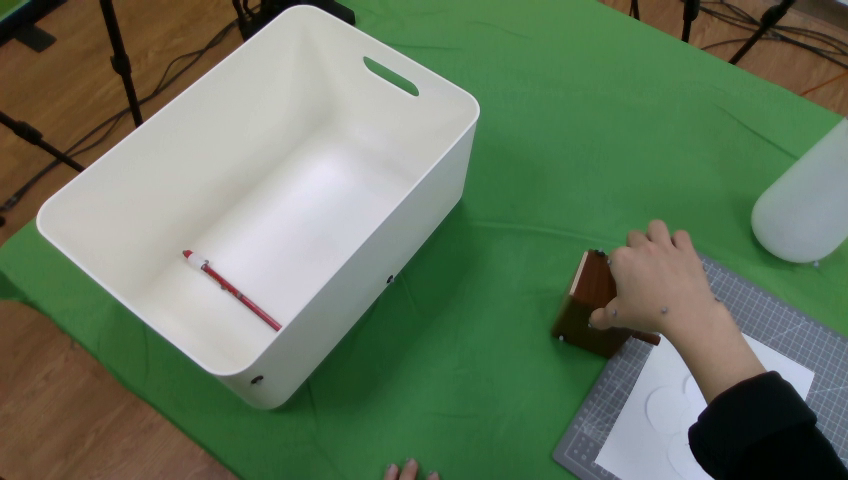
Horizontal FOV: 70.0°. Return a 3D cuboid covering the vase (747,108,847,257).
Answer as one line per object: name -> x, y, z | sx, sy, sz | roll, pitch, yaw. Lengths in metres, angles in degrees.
vase -> 0.428, -0.063, 0.640 | 0.098, 0.201, 0.097 | 0, 60, 0

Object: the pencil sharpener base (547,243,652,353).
pencil sharpener base -> 0.179, 0.062, 0.618 | 0.076, 0.108, 0.061 | 21, 62, 10

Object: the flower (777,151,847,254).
flower -> 0.431, -0.116, 0.574 | 0.044, 0.364, 0.038 | 26, 46, 17

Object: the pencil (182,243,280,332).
pencil -> -0.196, 0.063, 0.656 | 0.193, 0.012, 0.012 | 38, 67, 16

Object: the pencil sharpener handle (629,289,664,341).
pencil sharpener handle -> 0.225, 0.076, 0.597 | 0.030, 0.068, 0.036 | 21, 55, 10

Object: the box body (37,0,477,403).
box body -> -0.145, -0.044, 0.636 | 0.253, 0.161, 0.363 | 33, 66, 16
